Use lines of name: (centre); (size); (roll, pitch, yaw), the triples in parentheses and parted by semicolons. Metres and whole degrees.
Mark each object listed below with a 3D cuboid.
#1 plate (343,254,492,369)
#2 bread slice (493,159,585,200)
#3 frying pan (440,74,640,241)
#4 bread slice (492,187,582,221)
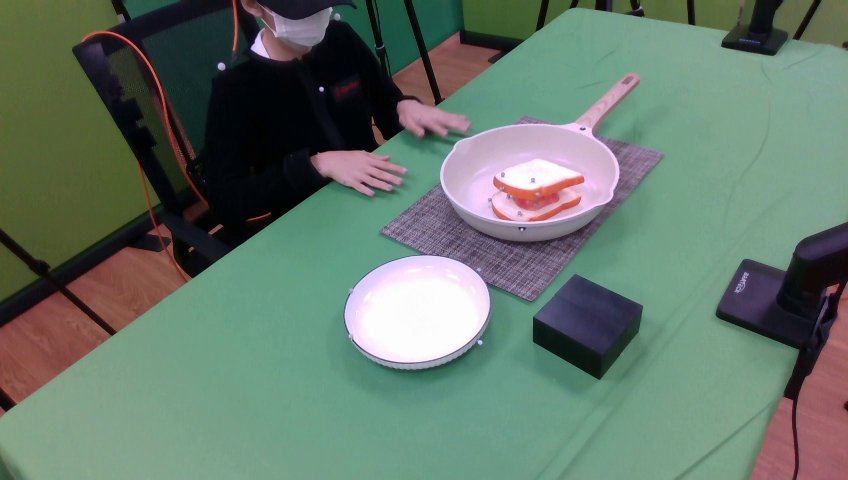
plate: (-0.008, 0.100, 0.847); (0.207, 0.039, 0.206); (-4, 40, 4)
bread slice: (0.182, -0.100, 0.984); (0.132, 0.019, 0.104); (-20, 33, -33)
frying pan: (0.245, -0.161, 1.058); (0.304, 0.103, 0.489); (30, 61, 35)
bread slice: (0.183, -0.067, 1.016); (0.135, 0.018, 0.106); (-28, 43, -23)
